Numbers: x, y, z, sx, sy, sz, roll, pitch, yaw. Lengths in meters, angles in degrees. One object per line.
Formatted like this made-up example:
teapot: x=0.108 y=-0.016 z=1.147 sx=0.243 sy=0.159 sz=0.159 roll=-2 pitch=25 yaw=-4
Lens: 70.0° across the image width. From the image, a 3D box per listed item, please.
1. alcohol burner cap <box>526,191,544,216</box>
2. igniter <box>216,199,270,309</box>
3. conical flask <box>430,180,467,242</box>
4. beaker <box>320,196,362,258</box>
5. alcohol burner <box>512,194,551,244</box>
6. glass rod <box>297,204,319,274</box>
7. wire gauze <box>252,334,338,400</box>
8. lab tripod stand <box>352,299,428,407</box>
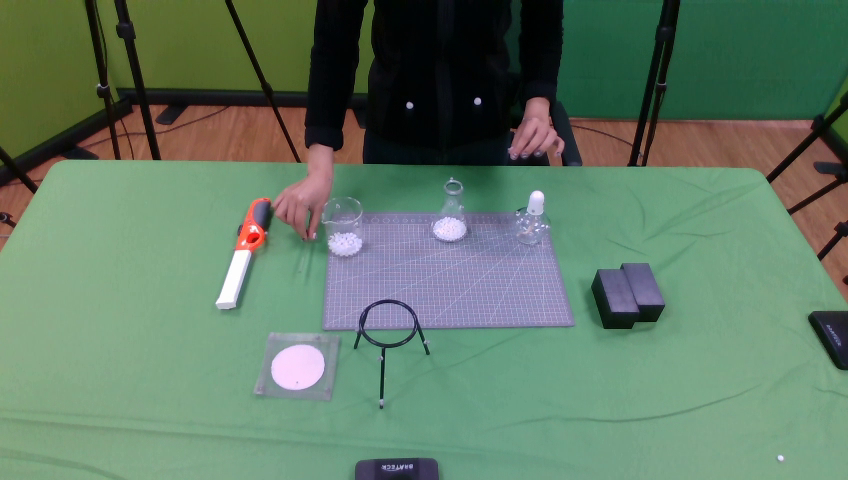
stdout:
alcohol burner cap: x=0.216 y=-0.073 z=1.170 sx=0.034 sy=0.048 sz=0.033 roll=-1 pitch=42 yaw=1
igniter: x=-0.342 y=0.016 z=1.153 sx=0.057 sy=0.025 sz=0.275 roll=-3 pitch=45 yaw=7
conical flask: x=0.052 y=-0.060 z=1.189 sx=0.075 sy=0.122 sz=0.075 roll=2 pitch=46 yaw=-2
beaker: x=-0.156 y=-0.021 z=1.150 sx=0.084 sy=0.101 sz=0.073 roll=-30 pitch=55 yaw=-28
alcohol burner: x=0.215 y=-0.048 z=1.196 sx=0.078 sy=0.119 sz=0.077 roll=4 pitch=46 yaw=-4
glass rod: x=-0.225 y=-0.005 z=1.185 sx=0.008 sy=0.008 sz=0.198 roll=4 pitch=43 yaw=0
wire gauze: x=-0.209 y=0.204 z=0.996 sx=0.125 sy=0.011 sz=0.120 roll=3 pitch=45 yaw=1
lab tripod stand: x=-0.056 y=0.166 z=0.958 sx=0.148 sy=0.132 sz=0.147 roll=3 pitch=44 yaw=-2
